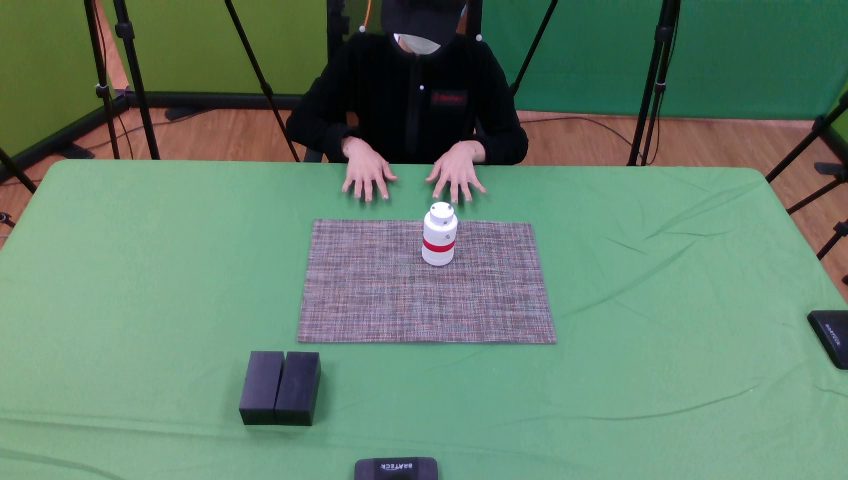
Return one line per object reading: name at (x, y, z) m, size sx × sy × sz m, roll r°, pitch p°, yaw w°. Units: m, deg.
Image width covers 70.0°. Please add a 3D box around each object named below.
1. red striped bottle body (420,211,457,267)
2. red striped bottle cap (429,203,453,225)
red striped bottle body at (0.027, -0.011, 1.139) m, size 0.063 × 0.120 × 0.062 m, roll 3°, pitch 45°, yaw -2°
red striped bottle cap at (0.031, -0.048, 1.101) m, size 0.044 × 0.018 × 0.044 m, roll 2°, pitch 43°, yaw -2°
